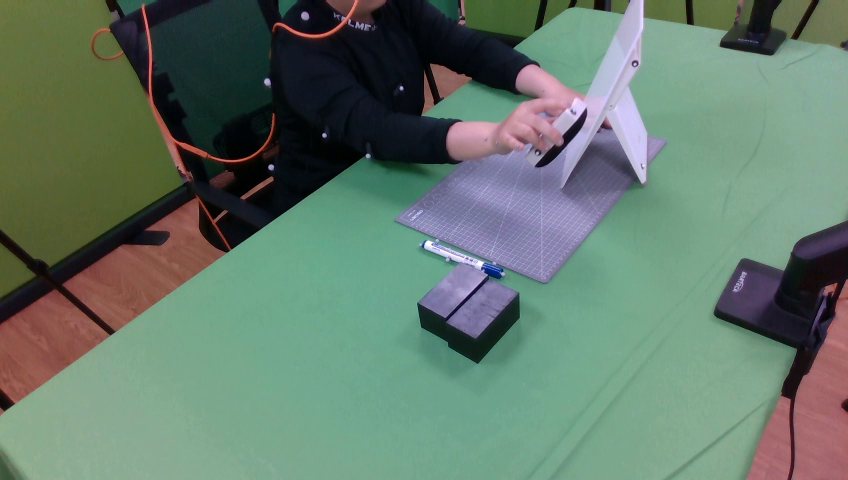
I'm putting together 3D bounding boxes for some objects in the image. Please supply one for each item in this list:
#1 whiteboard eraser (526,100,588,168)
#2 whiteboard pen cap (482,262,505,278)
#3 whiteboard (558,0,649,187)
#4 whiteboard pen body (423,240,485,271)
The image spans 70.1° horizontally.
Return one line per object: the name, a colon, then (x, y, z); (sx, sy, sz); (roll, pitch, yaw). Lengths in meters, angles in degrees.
whiteboard eraser: (0.206, -0.158, 0.925); (0.042, 0.112, 0.056); (42, 47, 3)
whiteboard pen cap: (0.104, 0.044, 0.912); (0.033, 0.018, 0.018); (21, 48, 29)
whiteboard: (0.361, -0.238, 1.026); (0.144, 0.306, 0.217); (21, 44, 3)
whiteboard pen body: (0.057, 0.027, 0.942); (0.139, 0.017, 0.017); (21, 48, 30)
